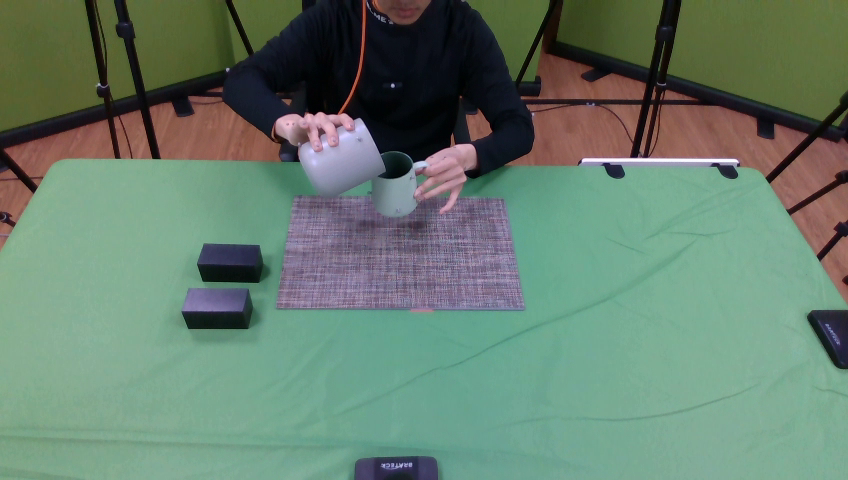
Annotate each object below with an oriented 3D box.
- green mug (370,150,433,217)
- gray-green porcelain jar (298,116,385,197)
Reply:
[{"bbox_3d":[-0.042,-0.112,1.155,0.125,0.105,0.092,-21,52,-15],"label":"green mug"},{"bbox_3d":[-0.147,-0.142,1.058,0.126,0.106,0.105,-26,52,-5],"label":"gray-green porcelain jar"}]
